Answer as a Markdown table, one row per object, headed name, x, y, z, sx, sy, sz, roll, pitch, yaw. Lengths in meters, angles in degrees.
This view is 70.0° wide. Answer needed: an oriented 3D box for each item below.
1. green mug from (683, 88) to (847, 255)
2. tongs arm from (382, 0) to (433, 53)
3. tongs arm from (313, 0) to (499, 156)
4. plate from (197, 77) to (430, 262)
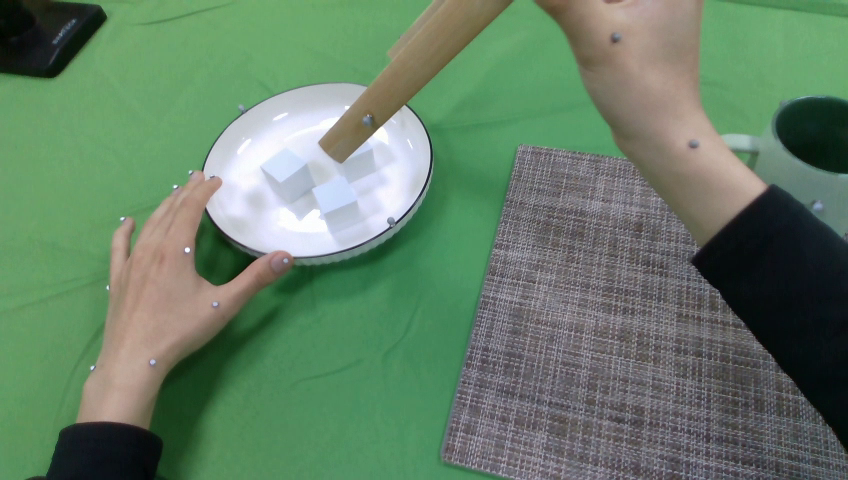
| name | x | y | z | sx | sy | sz | roll | pitch | yaw |
| --- | --- | --- | --- | --- | --- | --- | --- | --- | --- |
| green mug | 0.266 | -0.051 | 0.463 | 0.125 | 0.106 | 0.092 | 9 | 58 | 11 |
| tongs arm | 0.059 | -0.183 | 0.349 | 0.027 | 0.384 | 0.050 | 41 | 60 | -15 |
| tongs arm | 0.031 | -0.136 | 0.318 | 0.028 | 0.387 | 0.028 | 44 | 52 | -13 |
| plate | -0.097 | -0.064 | 0.550 | 0.209 | 0.038 | 0.207 | -2 | 56 | 3 |
